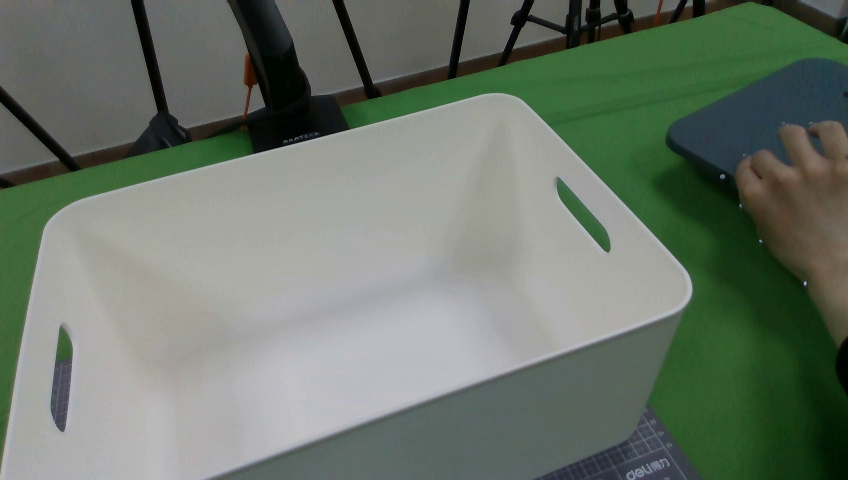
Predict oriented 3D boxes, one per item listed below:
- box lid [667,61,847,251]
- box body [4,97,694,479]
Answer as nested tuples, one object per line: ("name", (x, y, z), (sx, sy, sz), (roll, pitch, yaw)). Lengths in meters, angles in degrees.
("box lid", (0.443, -0.061, 0.553), (0.263, 0.015, 0.367), (-26, 46, -20))
("box body", (-0.047, 0.063, 0.430), (0.364, 0.162, 0.251), (-17, 43, -11))
